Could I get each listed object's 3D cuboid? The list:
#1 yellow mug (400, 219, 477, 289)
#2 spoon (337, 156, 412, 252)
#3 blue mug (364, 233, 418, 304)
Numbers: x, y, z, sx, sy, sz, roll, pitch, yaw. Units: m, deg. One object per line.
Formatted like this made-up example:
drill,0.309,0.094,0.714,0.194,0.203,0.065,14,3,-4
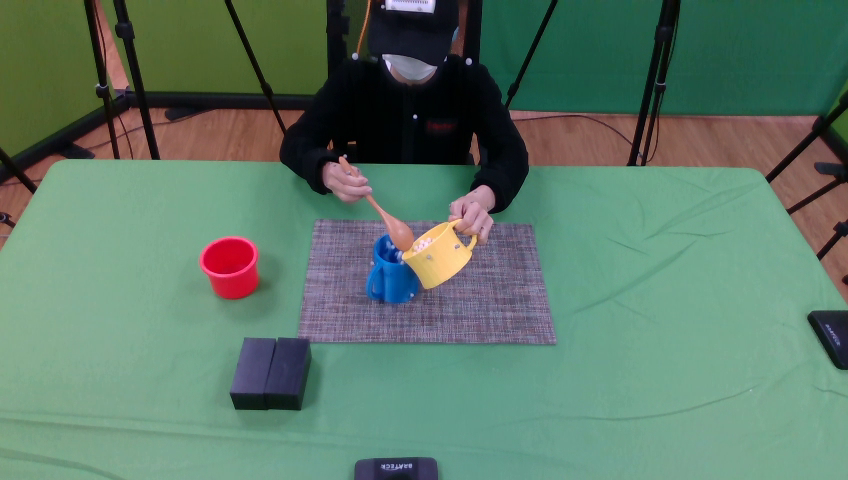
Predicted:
yellow mug,0.031,0.015,1.002,0.131,0.099,0.064,-38,101,-9
spoon,-0.085,-0.061,1.013,0.041,0.021,0.193,-39,90,-23
blue mug,-0.063,0.059,1.074,0.082,0.106,0.116,35,53,27
